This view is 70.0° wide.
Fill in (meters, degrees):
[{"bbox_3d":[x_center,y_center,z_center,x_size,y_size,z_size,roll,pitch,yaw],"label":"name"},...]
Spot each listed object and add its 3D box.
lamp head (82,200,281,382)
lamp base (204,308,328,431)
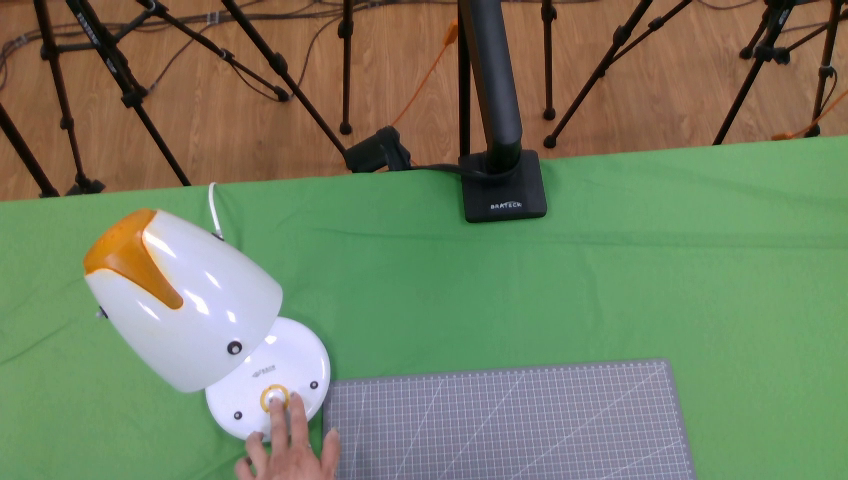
[{"bbox_3d":[-0.189,0.028,0.458,0.112,0.124,0.111,-29,28,18],"label":"lamp head"},{"bbox_3d":[-0.216,0.124,0.723,0.160,0.182,0.177,-32,65,-12],"label":"lamp base"}]
